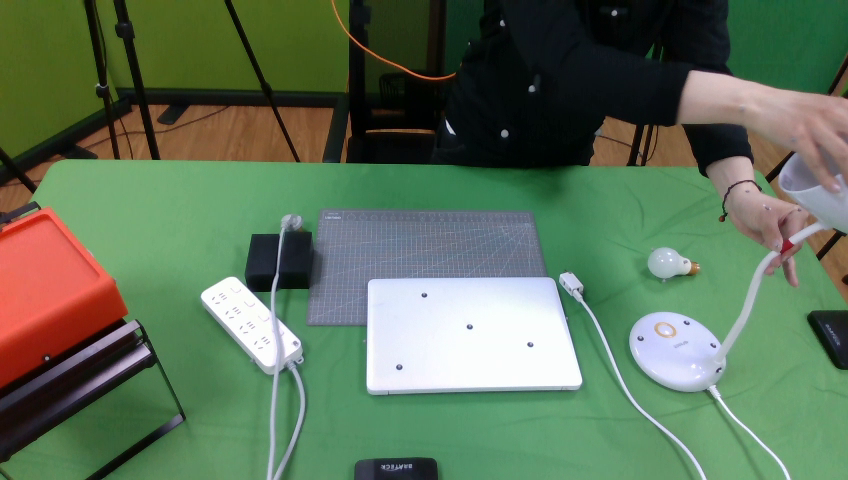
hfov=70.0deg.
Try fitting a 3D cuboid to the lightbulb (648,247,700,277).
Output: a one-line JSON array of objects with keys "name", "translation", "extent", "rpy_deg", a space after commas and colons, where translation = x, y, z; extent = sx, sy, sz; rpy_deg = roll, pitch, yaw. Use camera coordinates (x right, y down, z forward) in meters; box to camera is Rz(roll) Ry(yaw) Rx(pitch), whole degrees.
[{"name": "lightbulb", "translation": [0.485, 0.046, 1.170], "extent": [0.108, 0.060, 0.059], "rpy_deg": [10, 45, -16]}]

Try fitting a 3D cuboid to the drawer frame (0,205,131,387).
[{"name": "drawer frame", "translation": [-0.540, 0.076, 0.795], "extent": [0.200, 0.083, 0.213], "rpy_deg": [36, 54, 26]}]

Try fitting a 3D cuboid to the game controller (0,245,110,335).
[{"name": "game controller", "translation": [-0.510, 0.062, 0.830], "extent": [0.097, 0.052, 0.154], "rpy_deg": [-30, 58, -30]}]

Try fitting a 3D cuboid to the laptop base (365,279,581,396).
[{"name": "laptop base", "translation": [0.077, 0.162, 1.053], "extent": [0.355, 0.023, 0.234], "rpy_deg": [0, 44, -4]}]

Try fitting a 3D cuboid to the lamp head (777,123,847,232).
[{"name": "lamp head", "translation": [0.510, -0.060, 0.730], "extent": [0.123, 0.112, 0.112], "rpy_deg": [45, 49, -13]}]

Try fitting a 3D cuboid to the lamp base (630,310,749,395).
[{"name": "lamp base", "translation": [0.447, 0.143, 0.984], "extent": [0.161, 0.181, 0.178], "rpy_deg": [-24, 55, -24]}]

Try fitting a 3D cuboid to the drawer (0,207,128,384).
[{"name": "drawer", "translation": [-0.540, 0.074, 0.799], "extent": [0.193, 0.073, 0.211], "rpy_deg": [37, 55, 27]}]

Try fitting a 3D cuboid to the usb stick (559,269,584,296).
[{"name": "usb stick", "translation": [0.274, 0.077, 1.141], "extent": [0.027, 0.021, 0.059], "rpy_deg": [-9, 40, -15]}]

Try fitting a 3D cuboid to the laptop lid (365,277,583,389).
[{"name": "laptop lid", "translation": [0.077, 0.152, 1.046], "extent": [0.357, 0.013, 0.240], "rpy_deg": [1, 45, -3]}]

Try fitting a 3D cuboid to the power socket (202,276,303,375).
[{"name": "power socket", "translation": [-0.296, 0.142, 1.034], "extent": [0.072, 0.033, 0.225], "rpy_deg": [-34, 58, -31]}]

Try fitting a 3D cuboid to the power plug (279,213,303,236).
[{"name": "power plug", "translation": [-0.263, -0.021, 1.184], "extent": [0.035, 0.053, 0.072], "rpy_deg": [-1, 48, 32]}]
